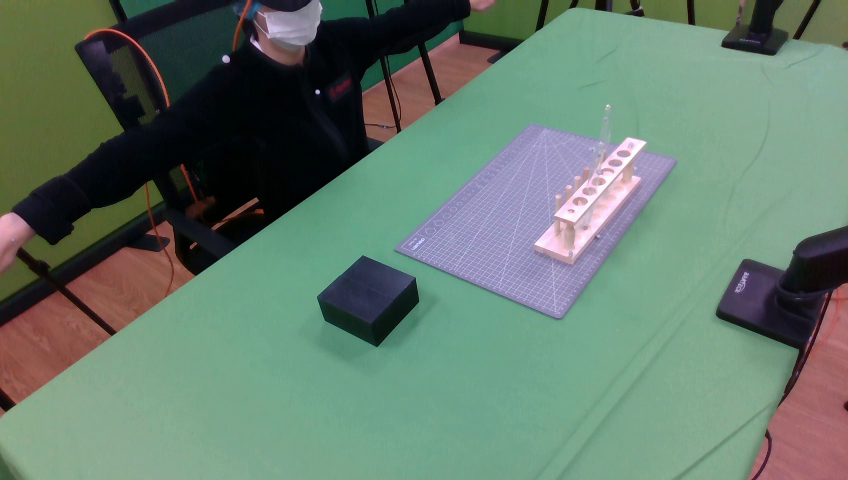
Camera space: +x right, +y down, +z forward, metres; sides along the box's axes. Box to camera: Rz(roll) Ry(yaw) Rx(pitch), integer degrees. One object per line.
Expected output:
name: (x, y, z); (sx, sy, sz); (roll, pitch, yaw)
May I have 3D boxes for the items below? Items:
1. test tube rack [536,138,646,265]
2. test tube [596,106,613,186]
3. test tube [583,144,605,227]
test tube rack: (0.268, -0.071, 0.964); (0.066, 0.085, 0.243); (23, 49, 32)
test tube: (0.294, -0.150, 0.984); (0.017, 0.151, 0.017); (-5, 40, 4)
test tube: (0.251, -0.077, 0.896); (0.017, 0.151, 0.017); (-3, 43, 3)
